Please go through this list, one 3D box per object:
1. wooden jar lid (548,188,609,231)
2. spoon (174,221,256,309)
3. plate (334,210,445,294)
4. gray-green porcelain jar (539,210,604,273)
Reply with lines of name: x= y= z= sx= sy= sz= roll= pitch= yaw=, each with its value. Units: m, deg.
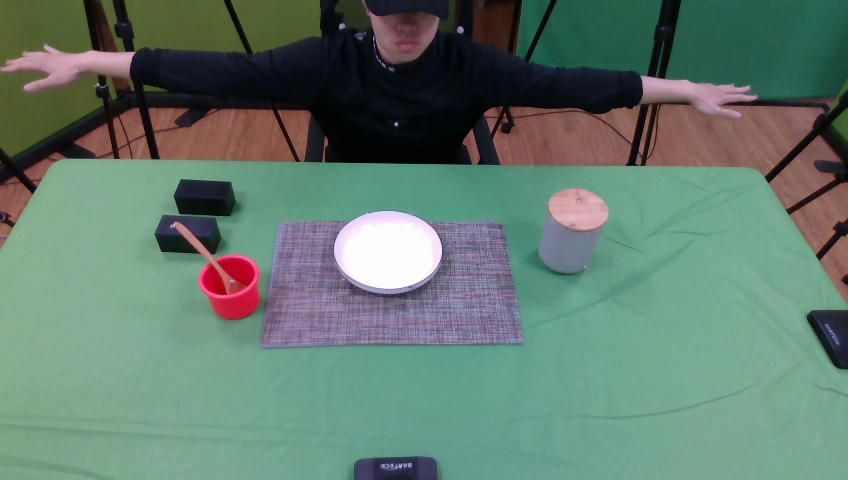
wooden jar lid: x=0.280 y=-0.052 z=1.105 sx=0.108 sy=0.021 sz=0.107 roll=0 pitch=48 yaw=0
spoon: x=-0.360 y=0.043 z=1.044 sx=0.194 sy=0.021 sz=0.041 roll=54 pitch=51 yaw=-14
plate: x=-0.066 y=0.026 z=1.150 sx=0.208 sy=0.039 sz=0.206 roll=2 pitch=46 yaw=-2
gray-green porcelain jar: x=0.277 y=-0.007 z=1.151 sx=0.106 sy=0.127 sz=0.105 roll=2 pitch=46 yaw=-1
